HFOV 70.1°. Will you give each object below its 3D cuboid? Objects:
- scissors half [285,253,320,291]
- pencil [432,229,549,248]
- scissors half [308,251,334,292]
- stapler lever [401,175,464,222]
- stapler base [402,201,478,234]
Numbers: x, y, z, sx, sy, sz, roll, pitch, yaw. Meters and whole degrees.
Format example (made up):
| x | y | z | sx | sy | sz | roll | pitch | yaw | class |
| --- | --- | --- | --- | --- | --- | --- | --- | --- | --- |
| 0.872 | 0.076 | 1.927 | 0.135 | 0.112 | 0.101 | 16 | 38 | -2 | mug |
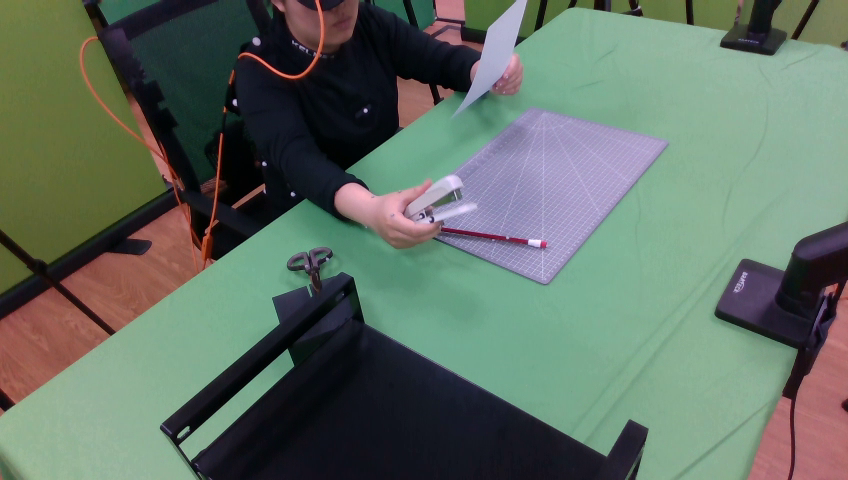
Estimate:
| x | y | z | sx | sy | sz | roll | pitch | yaw | class |
| --- | --- | --- | --- | --- | --- | --- | --- | --- | --- |
| -0.179 | 0.049 | 0.909 | 0.040 | 0.013 | 0.174 | -15 | 19 | -20 | scissors half |
| 0.103 | -0.005 | 0.971 | 0.193 | 0.012 | 0.012 | 8 | 43 | 18 | pencil |
| -0.159 | 0.046 | 0.913 | 0.040 | 0.013 | 0.174 | -5 | 17 | -5 | scissors half |
| 0.010 | -0.062 | 0.902 | 0.117 | 0.040 | 0.027 | -20 | -1 | 39 | stapler lever |
| 0.020 | -0.039 | 0.902 | 0.130 | 0.024 | 0.041 | -21 | -2 | 39 | stapler base |
